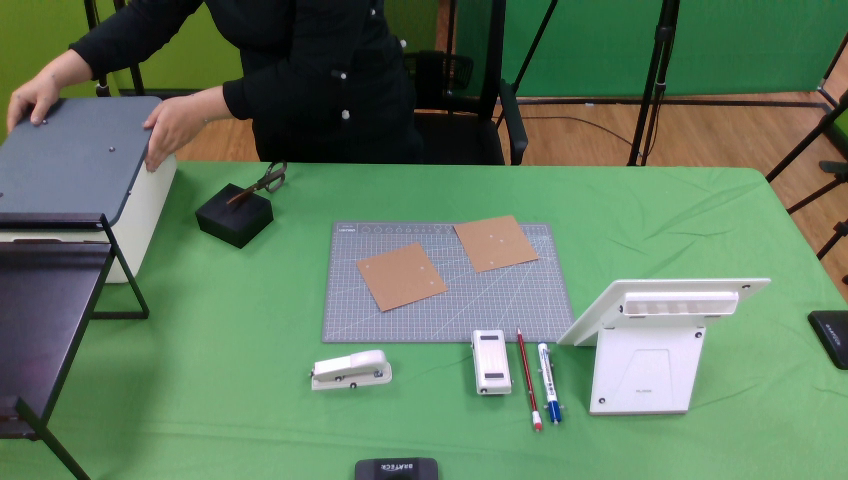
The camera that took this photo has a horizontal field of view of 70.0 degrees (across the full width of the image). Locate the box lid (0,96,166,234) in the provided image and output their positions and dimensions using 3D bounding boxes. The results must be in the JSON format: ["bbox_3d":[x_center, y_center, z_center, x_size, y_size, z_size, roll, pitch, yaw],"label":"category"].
[{"bbox_3d":[-0.636,-0.147,1.083,0.263,0.015,0.369,-1,47,-3],"label":"box lid"}]

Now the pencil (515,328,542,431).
[{"bbox_3d":[0.170,0.224,1.003,0.012,0.012,0.192,-1,46,-6],"label":"pencil"}]

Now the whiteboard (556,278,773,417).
[{"bbox_3d":[0.347,0.174,0.903,0.217,0.306,0.143,1,65,-4],"label":"whiteboard"}]

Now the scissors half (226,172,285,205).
[{"bbox_3d":[-0.339,-0.101,1.230,0.013,0.040,0.175,21,29,18],"label":"scissors half"}]

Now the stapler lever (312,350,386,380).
[{"bbox_3d":[-0.120,0.198,0.963,0.118,0.040,0.026,-4,44,-8],"label":"stapler lever"}]

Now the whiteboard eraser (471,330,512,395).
[{"bbox_3d":[0.110,0.202,0.998,0.055,0.042,0.112,1,46,-5],"label":"whiteboard eraser"}]

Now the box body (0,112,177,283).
[{"bbox_3d":[-0.640,-0.095,1.140,0.254,0.161,0.361,1,46,-4],"label":"box body"}]

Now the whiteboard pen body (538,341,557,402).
[{"bbox_3d":[0.205,0.228,0.997,0.017,0.017,0.140,1,46,-3],"label":"whiteboard pen body"}]

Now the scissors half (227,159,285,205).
[{"bbox_3d":[-0.336,-0.117,1.218,0.013,0.040,0.175,25,47,15],"label":"scissors half"}]

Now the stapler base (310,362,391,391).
[{"bbox_3d":[-0.119,0.215,0.980,0.131,0.024,0.041,-5,44,-7],"label":"stapler base"}]

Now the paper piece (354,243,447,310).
[{"bbox_3d":[-0.045,0.066,1.137,0.136,0.009,0.137,-14,47,-22],"label":"paper piece"}]

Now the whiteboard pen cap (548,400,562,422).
[{"bbox_3d":[0.205,0.269,0.956,0.018,0.018,0.033,0,48,-5],"label":"whiteboard pen cap"}]

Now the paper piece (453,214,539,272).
[{"bbox_3d":[0.142,0.002,1.213,0.135,0.004,0.135,-11,48,-14],"label":"paper piece"}]
